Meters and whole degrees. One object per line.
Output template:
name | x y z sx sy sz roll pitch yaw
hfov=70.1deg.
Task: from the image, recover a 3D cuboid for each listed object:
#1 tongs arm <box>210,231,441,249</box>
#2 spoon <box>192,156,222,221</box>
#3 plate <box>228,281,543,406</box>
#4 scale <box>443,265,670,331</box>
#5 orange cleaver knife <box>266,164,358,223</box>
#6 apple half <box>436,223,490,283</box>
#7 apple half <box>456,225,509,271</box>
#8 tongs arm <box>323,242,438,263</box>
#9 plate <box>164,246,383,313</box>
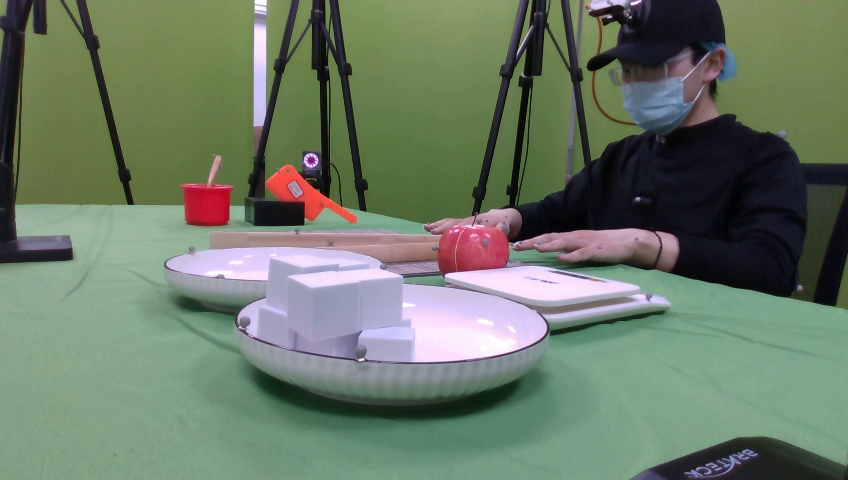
tongs arm | -0.106 0.004 0.876 0.386 0.026 0.050 0 7 -20
spoon | -0.430 -0.108 1.222 0.041 0.021 0.193 -1 52 0
plate | -0.025 0.067 0.413 0.208 0.039 0.207 3 7 0
scale | 0.131 0.052 0.603 0.202 0.031 0.148 -2 9 -37
orange cleaver knife | -0.238 -0.082 1.295 0.212 0.077 0.012 35 -9 -26
apple half | 0.045 0.017 0.691 0.081 0.074 0.053 -9 10 -41
apple half | 0.071 0.021 0.662 0.082 0.081 0.032 -4 7 -42
tongs arm | -0.070 0.017 0.800 0.390 0.028 0.028 -2 5 -34
plate | -0.145 0.038 0.600 0.209 0.038 0.209 2 7 0
